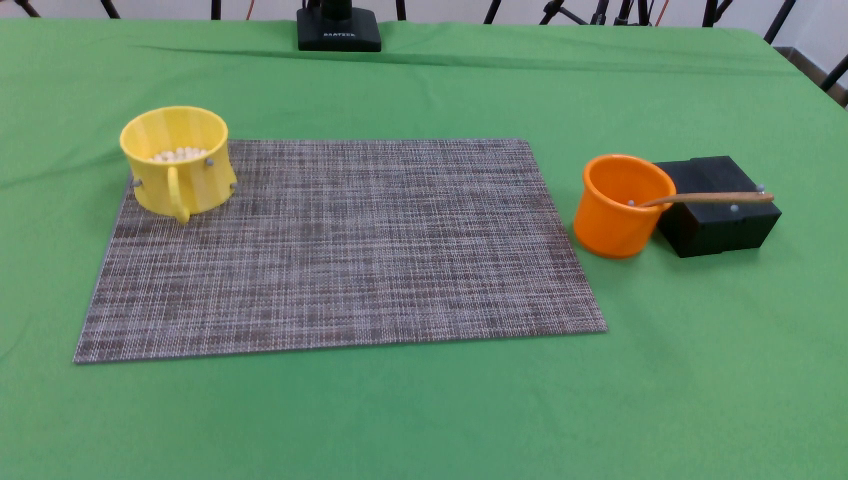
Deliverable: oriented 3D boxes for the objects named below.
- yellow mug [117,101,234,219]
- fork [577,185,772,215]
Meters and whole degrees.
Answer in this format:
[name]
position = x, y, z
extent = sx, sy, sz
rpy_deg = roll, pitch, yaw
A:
[yellow mug]
position = -0.244, -0.076, 0.602
extent = 0.100, 0.064, 0.129
rpy_deg = -7, 47, -14
[fork]
position = 0.225, -0.039, 0.574
extent = 0.028, 0.019, 0.206
rpy_deg = -27, 10, -28
